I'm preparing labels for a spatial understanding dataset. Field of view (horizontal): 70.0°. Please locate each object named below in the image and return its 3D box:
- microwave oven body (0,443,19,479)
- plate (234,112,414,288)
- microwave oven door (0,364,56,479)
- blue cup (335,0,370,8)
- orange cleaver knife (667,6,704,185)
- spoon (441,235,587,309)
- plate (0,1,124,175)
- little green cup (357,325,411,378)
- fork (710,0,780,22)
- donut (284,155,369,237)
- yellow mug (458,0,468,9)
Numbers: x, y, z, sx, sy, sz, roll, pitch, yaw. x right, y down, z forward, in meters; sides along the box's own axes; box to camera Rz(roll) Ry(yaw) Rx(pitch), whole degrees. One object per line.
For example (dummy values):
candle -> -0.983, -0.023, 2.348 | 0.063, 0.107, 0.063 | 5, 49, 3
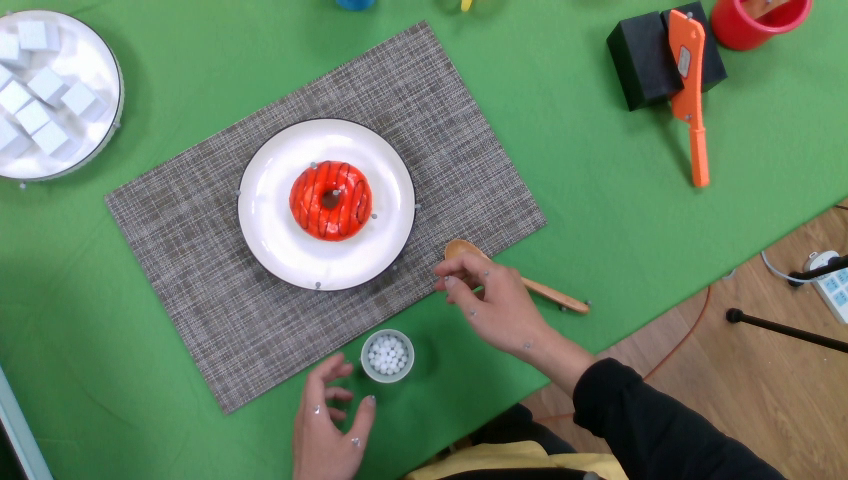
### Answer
microwave oven body -> -0.597, 0.254, 0.564 | 0.326, 0.260, 0.441 | -27, 87, -5
plate -> -0.117, -0.046, 0.721 | 0.209, 0.038, 0.208 | 0, 85, -2
microwave oven door -> -0.447, 0.225, 0.567 | 0.039, 0.244, 0.355 | -28, 86, -4
blue cup -> -0.088, -0.327, 0.719 | 0.093, 0.100, 0.092 | 0, 86, -3
orange cleaver knife -> 0.314, -0.171, 0.730 | 0.012, 0.076, 0.213 | -15, 115, -1
spoon -> 0.110, 0.044, 0.731 | 0.194, 0.022, 0.041 | 23, 68, -1
plate -> -0.460, -0.177, 0.722 | 0.208, 0.039, 0.207 | 0, 85, -2
little green cup -> -0.046, 0.130, 0.711 | 0.061, 0.038, 0.061 | 0, 85, 0
fork -> 0.450, -0.296, 0.715 | 0.206, 0.019, 0.028 | -6, 81, 39
donut -> -0.113, -0.051, 0.710 | 0.099, 0.048, 0.099 | 0, 87, -1
yellow mug -> 0.065, -0.347, 0.744 | 0.100, 0.064, 0.130 | 18, 85, 0
